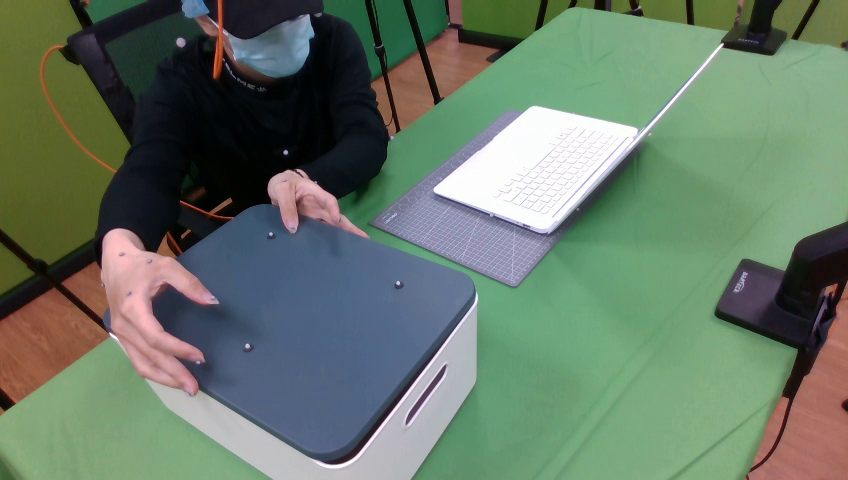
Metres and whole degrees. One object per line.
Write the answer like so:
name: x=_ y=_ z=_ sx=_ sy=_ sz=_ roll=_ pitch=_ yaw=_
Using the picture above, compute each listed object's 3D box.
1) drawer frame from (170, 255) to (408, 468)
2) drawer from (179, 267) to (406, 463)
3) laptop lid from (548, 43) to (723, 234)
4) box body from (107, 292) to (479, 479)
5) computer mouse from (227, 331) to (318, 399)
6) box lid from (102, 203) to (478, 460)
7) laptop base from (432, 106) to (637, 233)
drawer frame: x=-0.165 y=0.140 z=0.766 sx=0.212 sy=0.083 sz=0.202 roll=25 pitch=52 yaw=26
drawer: x=-0.163 y=0.148 z=0.771 sx=0.210 sy=0.073 sz=0.195 roll=23 pitch=47 yaw=31
laptop lid: x=0.336 y=-0.160 z=0.956 sx=0.013 sy=0.241 sz=0.358 roll=43 pitch=54 yaw=8
box body: x=-0.140 y=0.136 z=0.725 sx=0.361 sy=0.161 sz=0.254 roll=19 pitch=47 yaw=28
computer mouse: x=-0.201 y=0.159 z=0.804 sx=0.118 sy=0.041 sz=0.062 roll=-29 pitch=40 yaw=-33
box lid: x=-0.154 y=0.070 z=0.679 sx=0.369 sy=0.015 sz=0.264 roll=19 pitch=45 yaw=29
laptop base: x=0.210 y=-0.142 z=1.111 sx=0.233 sy=0.023 sz=0.355 roll=21 pitch=48 yaw=33
